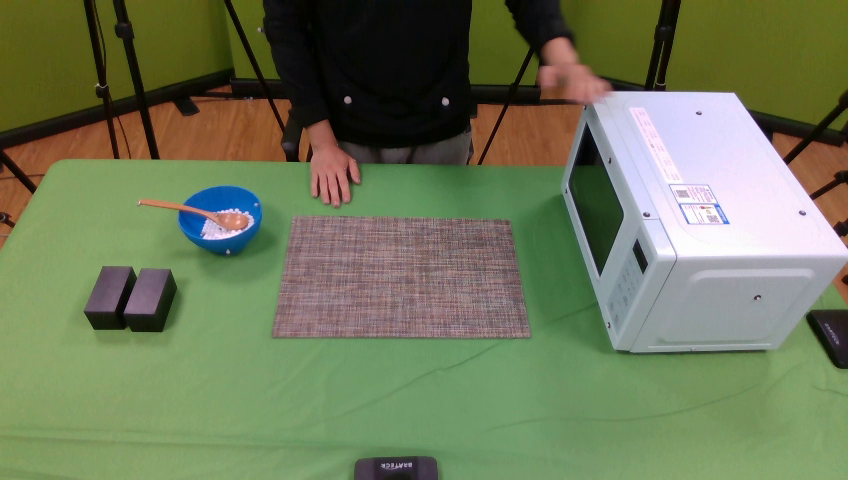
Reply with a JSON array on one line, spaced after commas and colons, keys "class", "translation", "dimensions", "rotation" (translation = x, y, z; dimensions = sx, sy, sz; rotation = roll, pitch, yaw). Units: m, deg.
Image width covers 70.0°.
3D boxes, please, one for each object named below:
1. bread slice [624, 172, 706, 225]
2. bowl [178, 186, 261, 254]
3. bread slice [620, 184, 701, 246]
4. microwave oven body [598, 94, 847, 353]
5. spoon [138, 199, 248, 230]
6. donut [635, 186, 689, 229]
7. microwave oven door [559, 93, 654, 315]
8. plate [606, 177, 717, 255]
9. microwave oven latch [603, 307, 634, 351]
[{"class": "bread slice", "translation": [0.460, -0.079, 1.139], "dimensions": [0.131, 0.019, 0.105], "rotation": [35, 51, 30]}, {"class": "bowl", "translation": [-0.383, -0.026, 1.158], "dimensions": [0.151, 0.077, 0.150], "rotation": [2, 46, -2]}, {"class": "bread slice", "translation": [0.462, -0.045, 1.170], "dimensions": [0.134, 0.018, 0.107], "rotation": [32, 59, 21]}, {"class": "microwave oven body", "translation": [0.475, -0.041, 1.109], "dimensions": [0.326, 0.261, 0.438], "rotation": [-1, 45, -4]}, {"class": "spoon", "translation": [-0.431, -0.053, 1.136], "dimensions": [0.194, 0.022, 0.041], "rotation": [15, 47, -20]}, {"class": "donut", "translation": [0.454, -0.062, 1.159], "dimensions": [0.099, 0.048, 0.098], "rotation": [-1, 47, 2]}, {"class": "microwave oven door", "translation": [0.327, -0.074, 1.123], "dimensions": [0.039, 0.245, 0.353], "rotation": [-1, 46, -5]}, {"class": "plate", "translation": [0.456, -0.043, 1.180], "dimensions": [0.208, 0.039, 0.206], "rotation": [1, 46, -1]}, {"class": "microwave oven latch", "translation": [0.333, 0.153, 1.044], "dimensions": [0.030, 0.029, 0.078], "rotation": [0, 45, -4]}]
